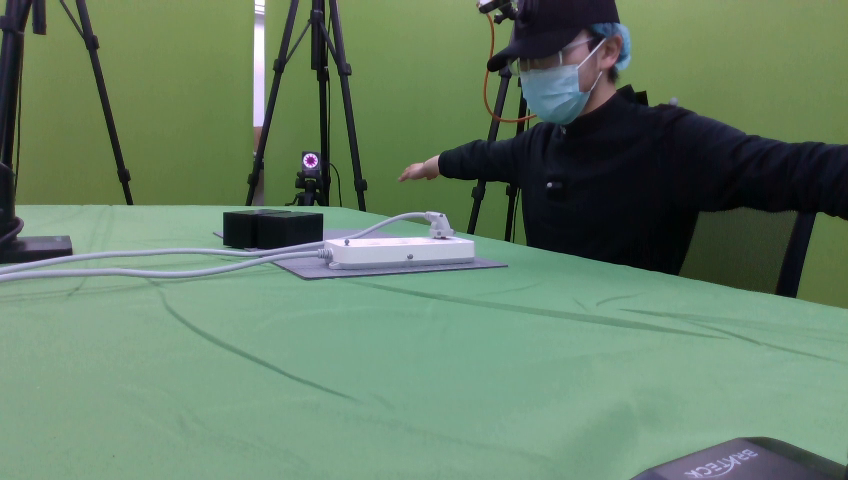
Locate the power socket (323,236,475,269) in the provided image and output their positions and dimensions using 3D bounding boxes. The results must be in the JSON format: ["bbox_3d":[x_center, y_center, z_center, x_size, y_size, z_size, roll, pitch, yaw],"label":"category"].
[{"bbox_3d":[-0.030,0.014,0.823,0.228,0.032,0.072,-2,8,-31],"label":"power socket"}]

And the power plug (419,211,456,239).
[{"bbox_3d":[0.020,-0.015,0.884,0.035,0.052,0.072,-1,7,-20],"label":"power plug"}]
